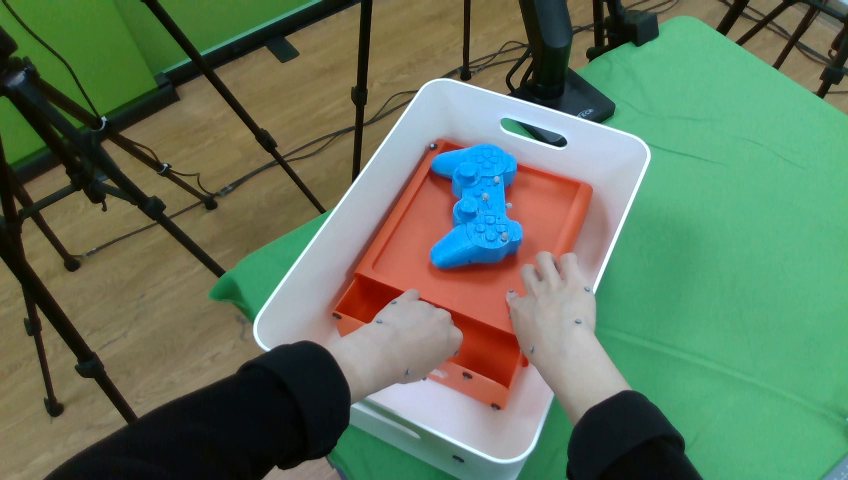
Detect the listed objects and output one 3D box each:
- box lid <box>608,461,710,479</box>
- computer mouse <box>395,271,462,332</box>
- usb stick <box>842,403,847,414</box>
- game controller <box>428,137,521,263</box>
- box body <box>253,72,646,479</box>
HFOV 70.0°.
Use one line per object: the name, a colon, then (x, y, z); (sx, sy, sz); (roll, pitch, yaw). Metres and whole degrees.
box lid: (0.185, 0.384, 0.482); (0.263, 0.015, 0.367); (-15, 58, -6)
computer mouse: (0.006, 0.061, 0.667); (0.062, 0.041, 0.116); (-4, 17, 10)
usb stick: (0.439, 0.177, 0.583); (0.021, 0.027, 0.058); (-28, 63, -20)
game controller: (0.053, -0.049, 0.657); (0.097, 0.052, 0.153); (1, 58, 0)
box body: (0.041, 0.029, 0.626); (0.253, 0.162, 0.362); (22, 61, 15)
